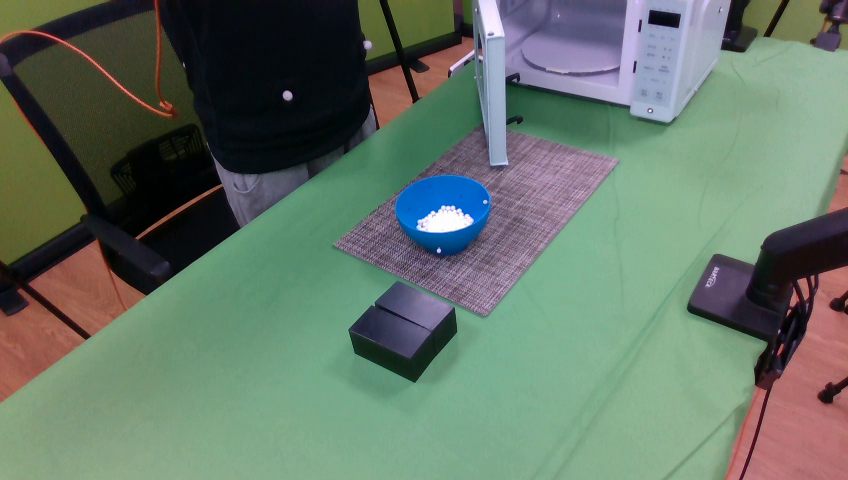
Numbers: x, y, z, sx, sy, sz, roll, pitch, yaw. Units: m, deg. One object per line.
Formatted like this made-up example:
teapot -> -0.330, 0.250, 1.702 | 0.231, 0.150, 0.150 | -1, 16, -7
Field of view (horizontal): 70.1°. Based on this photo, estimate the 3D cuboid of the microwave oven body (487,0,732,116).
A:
microwave oven body -> 0.377, -0.462, 1.267 | 0.438, 0.261, 0.327 | 21, 49, 30

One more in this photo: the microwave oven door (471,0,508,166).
microwave oven door -> 0.122, -0.340, 1.153 | 0.039, 0.245, 0.354 | -5, 40, 3

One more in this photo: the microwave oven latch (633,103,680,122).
microwave oven latch -> 0.443, -0.249, 1.157 | 0.078, 0.029, 0.030 | 21, 49, 30

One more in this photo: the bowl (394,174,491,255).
bowl -> 0.032, -0.030, 0.949 | 0.151, 0.077, 0.150 | -4, 40, 4
